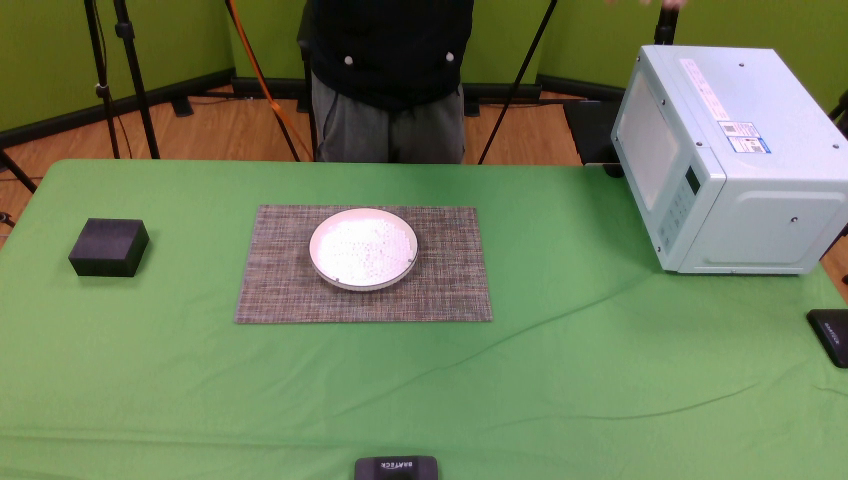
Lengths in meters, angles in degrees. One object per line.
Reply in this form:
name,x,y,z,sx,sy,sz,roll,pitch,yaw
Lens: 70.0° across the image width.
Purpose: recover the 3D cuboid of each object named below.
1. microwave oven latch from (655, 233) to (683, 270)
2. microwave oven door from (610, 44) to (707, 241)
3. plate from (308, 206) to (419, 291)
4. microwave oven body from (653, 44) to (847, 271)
microwave oven latch,0.473,0.021,1.175,0.030,0.029,0.078,2,46,-1
microwave oven door,0.474,-0.208,1.250,0.039,0.245,0.353,0,47,-3
plate,-0.115,0.019,1.153,0.209,0.038,0.208,2,47,-2
microwave oven body,0.620,-0.172,1.234,0.326,0.261,0.439,0,46,-3
